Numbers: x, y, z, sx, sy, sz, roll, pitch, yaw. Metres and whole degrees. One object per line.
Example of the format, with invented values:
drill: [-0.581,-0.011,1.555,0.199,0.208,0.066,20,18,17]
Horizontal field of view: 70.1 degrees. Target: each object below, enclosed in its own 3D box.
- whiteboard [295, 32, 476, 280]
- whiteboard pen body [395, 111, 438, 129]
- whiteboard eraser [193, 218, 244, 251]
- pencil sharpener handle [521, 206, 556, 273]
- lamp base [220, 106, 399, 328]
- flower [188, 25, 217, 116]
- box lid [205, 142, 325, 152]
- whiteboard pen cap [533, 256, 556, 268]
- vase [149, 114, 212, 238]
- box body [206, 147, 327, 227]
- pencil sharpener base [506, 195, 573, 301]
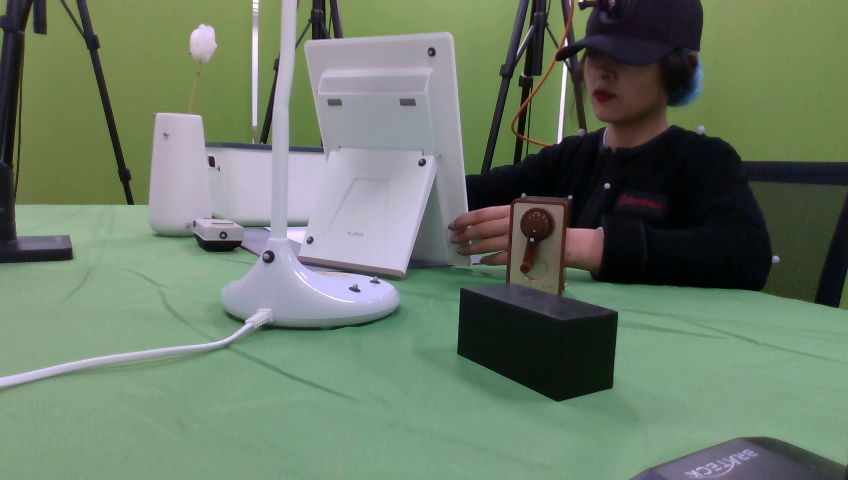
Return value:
whiteboard: [-0.076,-0.084,0.747,0.216,0.305,0.144,7,28,29]
whiteboard pen body: [-0.011,-0.166,0.833,0.017,0.017,0.141,5,8,21]
whiteboard eraser: [-0.307,-0.009,0.900,0.056,0.042,0.112,-3,9,-29]
pencil sharpener handle: [0.111,0.000,0.612,0.036,0.067,0.031,13,10,14]
lamp base: [-0.102,-0.023,0.531,0.160,0.180,0.179,4,10,10]
flower: [-0.394,-0.189,1.011,0.044,0.361,0.038,-1,-13,27]
box lid: [-0.270,-0.196,1.310,0.373,0.015,0.262,-2,9,-30]
whiteboard pen cap: [0.167,0.031,0.839,0.018,0.018,0.033,-1,-2,-25]
vase: [-0.405,-0.106,1.005,0.098,0.200,0.098,2,6,0]
box body: [-0.276,-0.122,1.320,0.366,0.160,0.253,-2,9,-30]
pencil sharpener base: [0.127,0.007,0.662,0.061,0.107,0.077,5,8,15]
